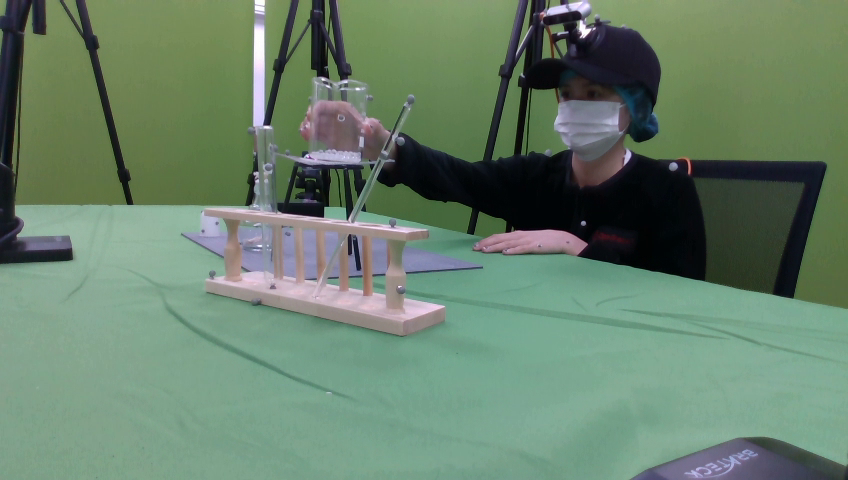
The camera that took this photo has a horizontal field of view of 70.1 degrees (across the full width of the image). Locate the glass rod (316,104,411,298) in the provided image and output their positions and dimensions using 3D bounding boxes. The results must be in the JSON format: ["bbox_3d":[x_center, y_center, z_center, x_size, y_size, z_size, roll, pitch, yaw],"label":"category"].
[{"bbox_3d":[-0.055,-0.026,0.517,0.008,0.199,0.008,23,25,-11],"label":"glass rod"}]

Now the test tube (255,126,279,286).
[{"bbox_3d":[-0.147,-0.031,0.566,0.017,0.150,0.017,-1,8,0],"label":"test tube"}]

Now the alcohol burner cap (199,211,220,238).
[{"bbox_3d":[-0.356,-0.027,1.002,0.034,0.048,0.034,2,7,0],"label":"alcohol burner cap"}]

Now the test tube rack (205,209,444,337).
[{"bbox_3d":[-0.100,0.021,0.565,0.241,0.085,0.067,7,9,32],"label":"test tube rack"}]

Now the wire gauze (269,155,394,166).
[{"bbox_3d":[-0.122,-0.102,0.785,0.122,0.011,0.124,-3,10,-39],"label":"wire gauze"}]

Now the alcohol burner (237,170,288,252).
[{"bbox_3d":[-0.236,-0.042,0.882,0.078,0.119,0.078,2,9,0],"label":"alcohol burner"}]

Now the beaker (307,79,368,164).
[{"bbox_3d":[-0.112,-0.150,0.776,0.074,0.100,0.084,5,6,-3],"label":"beaker"}]

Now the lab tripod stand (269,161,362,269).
[{"bbox_3d":[-0.125,-0.036,0.794,0.148,0.131,0.148,5,7,0],"label":"lab tripod stand"}]
